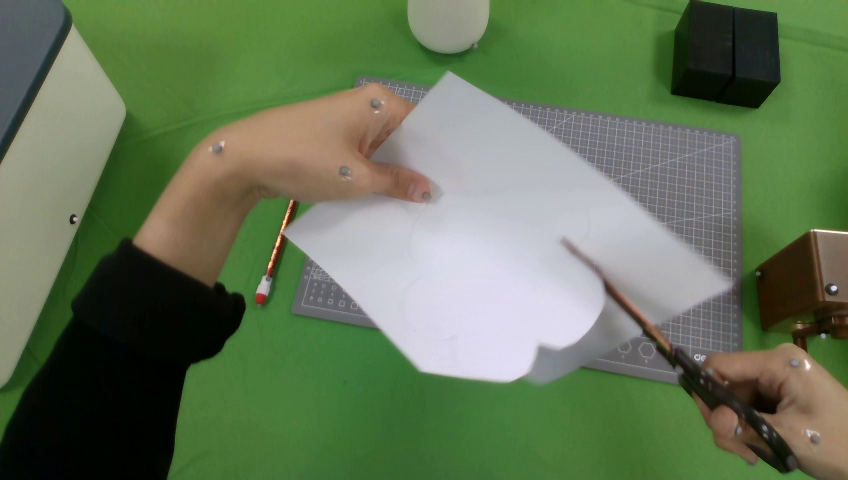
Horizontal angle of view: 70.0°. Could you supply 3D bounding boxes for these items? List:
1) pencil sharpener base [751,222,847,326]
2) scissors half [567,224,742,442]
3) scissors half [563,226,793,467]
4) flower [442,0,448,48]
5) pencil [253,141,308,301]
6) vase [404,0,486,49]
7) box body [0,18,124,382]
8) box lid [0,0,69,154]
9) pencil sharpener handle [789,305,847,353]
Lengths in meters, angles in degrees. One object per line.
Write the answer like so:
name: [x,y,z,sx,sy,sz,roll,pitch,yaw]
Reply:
pencil sharpener base: [0.367,0.040,0.574,0.061,0.108,0.076,5,69,2]
scissors half: [0.136,0.055,0.355,0.013,0.040,0.176,-41,105,1]
scissors half: [0.138,0.056,0.334,0.013,0.040,0.174,-42,83,-4]
flower: [0.019,-0.349,0.588,0.044,0.365,0.038,3,50,5]
pencil: [-0.151,-0.026,0.652,0.012,0.012,0.193,10,67,4]
vase: [0.024,-0.305,0.660,0.098,0.201,0.097,0,67,1]
box body: [-0.486,-0.055,0.578,0.254,0.161,0.361,10,69,4]
box lid: [-0.486,-0.086,0.509,0.263,0.015,0.369,10,68,3]
pencil sharpener handle: [0.358,0.082,0.544,0.036,0.068,0.030,10,68,-11]
